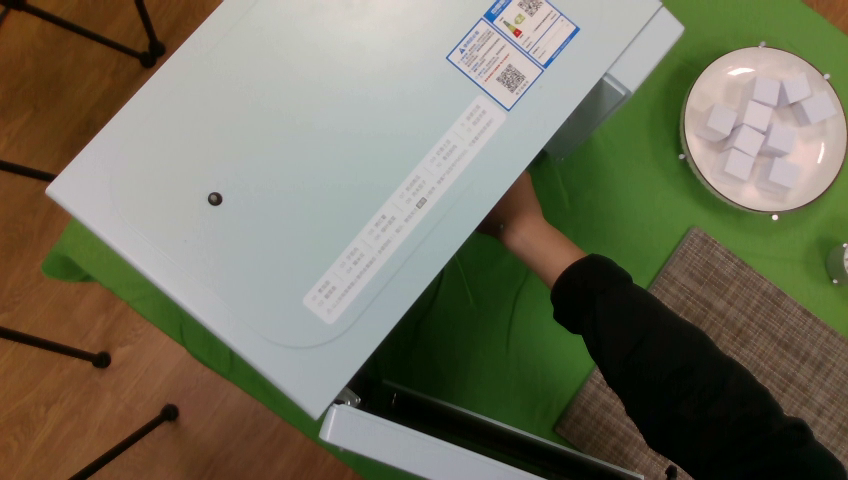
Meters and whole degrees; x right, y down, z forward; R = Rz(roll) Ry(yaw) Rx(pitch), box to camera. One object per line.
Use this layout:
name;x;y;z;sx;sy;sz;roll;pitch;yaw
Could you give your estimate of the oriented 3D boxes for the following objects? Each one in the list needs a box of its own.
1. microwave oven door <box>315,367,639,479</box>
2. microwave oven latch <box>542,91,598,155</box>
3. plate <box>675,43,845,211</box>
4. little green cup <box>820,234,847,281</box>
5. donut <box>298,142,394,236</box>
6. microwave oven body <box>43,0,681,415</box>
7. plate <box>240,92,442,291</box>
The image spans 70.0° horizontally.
microwave oven door;0.082;0.206;0.569;0.356;0.244;0.039;20;82;-1
microwave oven latch;0.169;-0.138;0.711;0.030;0.029;0.079;42;84;1
plate;0.406;-0.136;0.745;0.208;0.039;0.207;0;84;-4
little green cup;0.518;0.022;0.737;0.061;0.038;0.061;0;83;-3
donut;-0.081;-0.053;0.629;0.099;0.048;0.099;0;86;-2
microwave oven body;-0.053;-0.108;0.597;0.326;0.260;0.441;40;84;1
plate;-0.086;-0.050;0.639;0.209;0.038;0.208;0;86;-3
